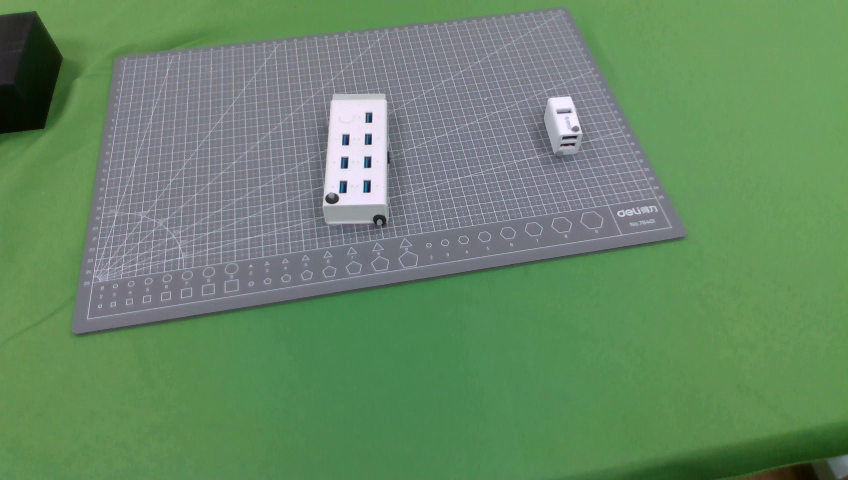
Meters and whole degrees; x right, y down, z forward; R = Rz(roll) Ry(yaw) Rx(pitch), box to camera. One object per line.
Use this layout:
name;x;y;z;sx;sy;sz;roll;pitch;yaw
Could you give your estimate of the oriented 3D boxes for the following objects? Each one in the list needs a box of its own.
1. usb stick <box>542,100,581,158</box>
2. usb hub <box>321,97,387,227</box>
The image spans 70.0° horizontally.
usb stick;0.116;-0.100;0.518;0.021;0.027;0.058;-5;52;-2
usb hub;-0.056;-0.067;0.494;0.049;0.025;0.124;-1;54;-1
